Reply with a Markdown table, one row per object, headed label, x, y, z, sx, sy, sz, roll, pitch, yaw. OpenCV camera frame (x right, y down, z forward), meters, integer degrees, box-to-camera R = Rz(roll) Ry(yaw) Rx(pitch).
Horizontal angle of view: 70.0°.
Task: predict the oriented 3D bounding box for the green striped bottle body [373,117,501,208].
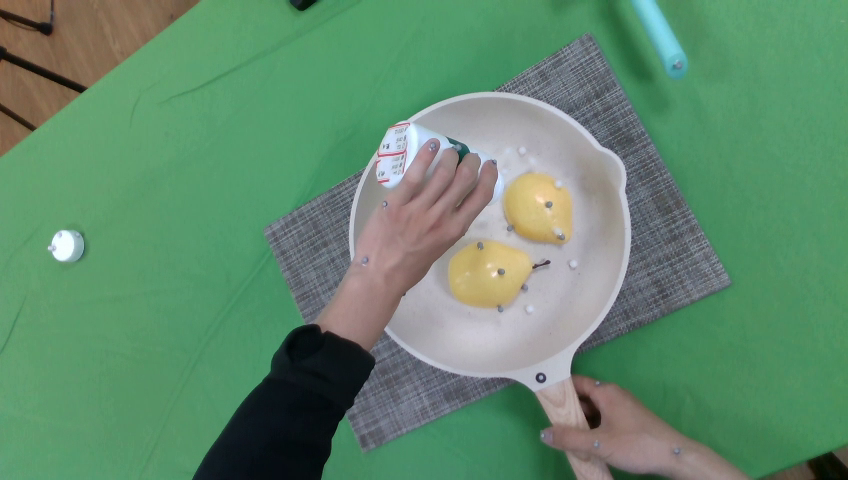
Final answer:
| label | x | y | z | sx | sy | sz | roll | pitch | yaw |
| --- | --- | --- | --- | --- | --- | --- | --- | --- | --- |
| green striped bottle body | 0.017 | -0.068 | 0.570 | 0.063 | 0.120 | 0.063 | -22 | 61 | 48 |

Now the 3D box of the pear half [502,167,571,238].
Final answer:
| label | x | y | z | sx | sy | sz | roll | pitch | yaw |
| --- | --- | --- | --- | --- | --- | --- | --- | --- | --- |
| pear half | 0.121 | -0.039 | 0.645 | 0.070 | 0.031 | 0.087 | -45 | 74 | 16 |

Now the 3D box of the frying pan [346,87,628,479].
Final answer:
| label | x | y | z | sx | sy | sz | roll | pitch | yaw |
| --- | --- | --- | --- | --- | --- | --- | --- | --- | --- |
| frying pan | 0.101 | 0.083 | 0.615 | 0.306 | 0.103 | 0.484 | -26 | 74 | 16 |

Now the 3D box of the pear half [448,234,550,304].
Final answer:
| label | x | y | z | sx | sy | sz | roll | pitch | yaw |
| --- | --- | --- | --- | --- | --- | --- | --- | --- | --- |
| pear half | 0.079 | 0.028 | 0.646 | 0.109 | 0.056 | 0.076 | -15 | 91 | 15 |

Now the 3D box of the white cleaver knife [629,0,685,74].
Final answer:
| label | x | y | z | sx | sy | sz | roll | pitch | yaw |
| --- | --- | --- | --- | --- | --- | --- | --- | --- | --- |
| white cleaver knife | 0.192 | -0.293 | 0.612 | 0.021 | 0.066 | 0.285 | -26 | 80 | 20 |

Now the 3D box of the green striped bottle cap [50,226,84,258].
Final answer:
| label | x | y | z | sx | sy | sz | roll | pitch | yaw |
| --- | --- | --- | --- | --- | --- | --- | --- | --- | --- |
| green striped bottle cap | -0.497 | 0.003 | 0.842 | 0.044 | 0.020 | 0.044 | 0 | 90 | 17 |
